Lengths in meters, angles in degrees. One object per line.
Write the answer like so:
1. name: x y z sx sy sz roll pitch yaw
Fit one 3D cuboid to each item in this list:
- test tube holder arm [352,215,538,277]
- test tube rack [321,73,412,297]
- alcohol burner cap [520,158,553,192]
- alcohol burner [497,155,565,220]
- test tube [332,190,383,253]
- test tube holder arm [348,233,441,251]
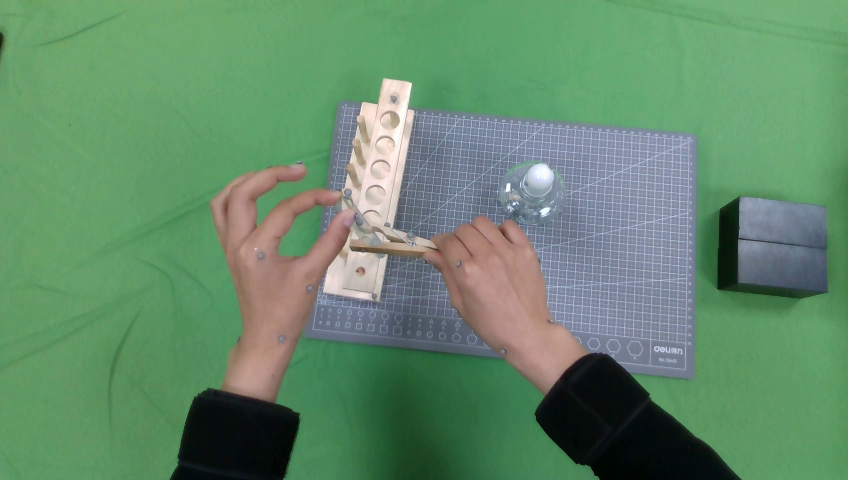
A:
1. test tube holder arm: 0.017 0.005 0.560 0.178 0.015 0.013 14 76 10
2. test tube rack: -0.067 -0.063 0.694 0.067 0.085 0.241 10 78 2
3. alcohol burner cap: 0.121 -0.072 0.646 0.034 0.048 0.034 0 82 3
4. alcohol burner: 0.123 -0.064 0.681 0.078 0.119 0.077 0 79 1
5. test tube: -0.057 -0.012 0.551 0.017 0.151 0.017 -2 74 7
6. test tube holder arm: -0.027 0.002 0.566 0.088 0.015 0.010 3 74 7
